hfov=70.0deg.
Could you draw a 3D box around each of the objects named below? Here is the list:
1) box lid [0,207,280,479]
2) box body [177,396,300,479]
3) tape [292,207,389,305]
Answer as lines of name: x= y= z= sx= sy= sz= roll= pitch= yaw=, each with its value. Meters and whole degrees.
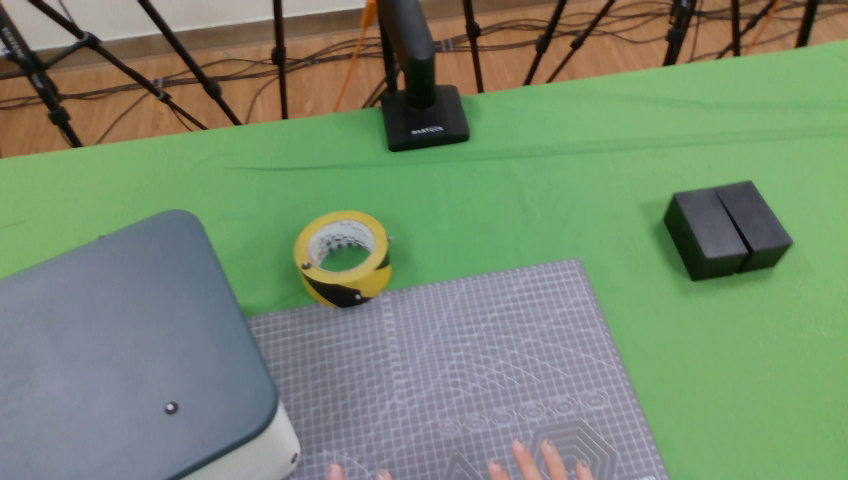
box lid: x=-0.328 y=0.127 z=0.501 sx=0.372 sy=0.015 sz=0.260 roll=-27 pitch=59 yaw=-16
box body: x=-0.326 y=0.171 z=0.562 sx=0.364 sy=0.162 sz=0.251 roll=-27 pitch=58 yaw=-15
tape: x=-0.100 y=0.018 z=0.730 sx=0.117 sy=0.053 sz=0.115 roll=-1 pitch=52 yaw=2
